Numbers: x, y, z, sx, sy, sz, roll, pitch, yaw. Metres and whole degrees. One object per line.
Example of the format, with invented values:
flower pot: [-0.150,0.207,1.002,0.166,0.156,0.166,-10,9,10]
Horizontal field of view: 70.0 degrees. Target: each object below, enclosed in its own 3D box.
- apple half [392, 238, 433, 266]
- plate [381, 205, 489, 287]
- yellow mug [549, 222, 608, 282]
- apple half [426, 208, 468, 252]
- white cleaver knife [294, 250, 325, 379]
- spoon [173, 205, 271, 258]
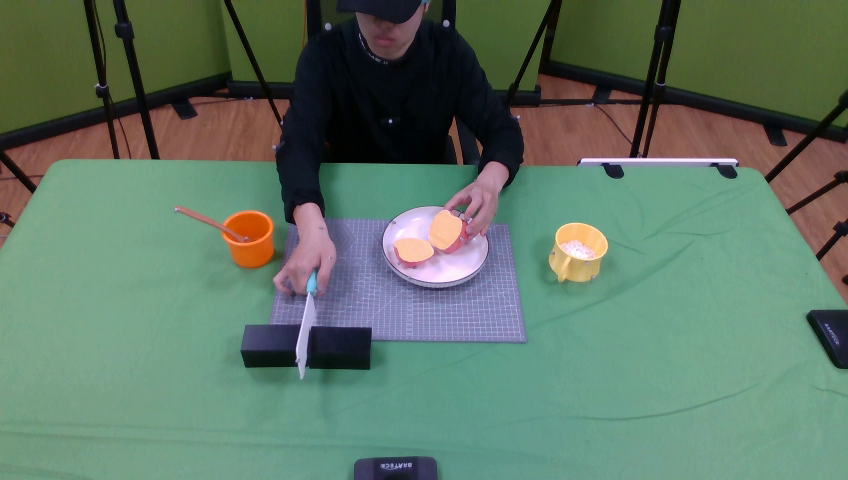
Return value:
apple half: [-0.023,0.028,1.147,0.081,0.033,0.081,8,34,-5]
plate: [0.021,0.015,1.170,0.209,0.038,0.208,2,46,-2]
yellow mug: [0.287,0.031,1.159,0.099,0.064,0.130,27,51,21]
apple half: [0.050,-0.014,1.168,0.080,0.053,0.074,31,93,39]
white cleaver knife: [-0.195,0.115,1.022,0.021,0.066,0.284,-1,34,0]
spoon: [-0.362,-0.017,1.098,0.021,0.195,0.041,-33,42,27]
